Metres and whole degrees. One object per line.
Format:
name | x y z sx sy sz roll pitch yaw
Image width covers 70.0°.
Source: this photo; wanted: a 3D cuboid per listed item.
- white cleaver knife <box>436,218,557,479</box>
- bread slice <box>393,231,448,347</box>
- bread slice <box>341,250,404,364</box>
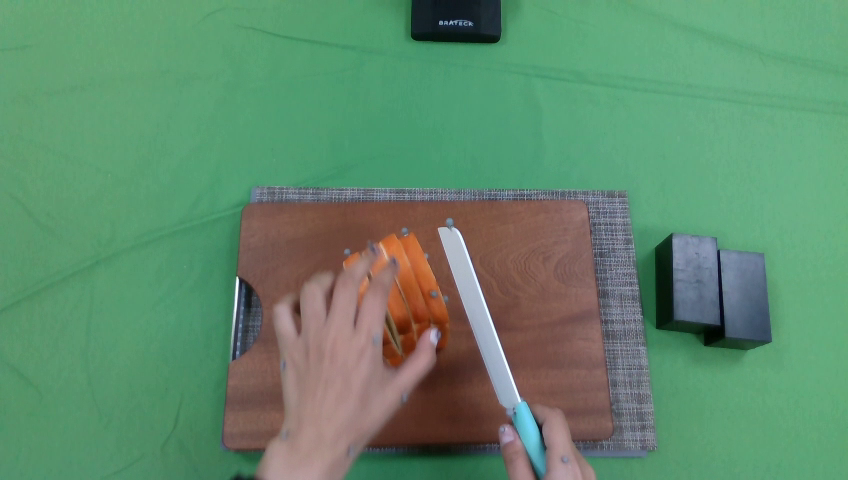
white cleaver knife | 0.066 0.116 0.499 0.021 0.066 0.286 -19 92 -11
bread slice | -0.004 0.050 0.601 0.018 0.135 0.106 -22 77 -9
bread slice | -0.052 0.065 0.597 0.019 0.132 0.104 -23 71 -4
